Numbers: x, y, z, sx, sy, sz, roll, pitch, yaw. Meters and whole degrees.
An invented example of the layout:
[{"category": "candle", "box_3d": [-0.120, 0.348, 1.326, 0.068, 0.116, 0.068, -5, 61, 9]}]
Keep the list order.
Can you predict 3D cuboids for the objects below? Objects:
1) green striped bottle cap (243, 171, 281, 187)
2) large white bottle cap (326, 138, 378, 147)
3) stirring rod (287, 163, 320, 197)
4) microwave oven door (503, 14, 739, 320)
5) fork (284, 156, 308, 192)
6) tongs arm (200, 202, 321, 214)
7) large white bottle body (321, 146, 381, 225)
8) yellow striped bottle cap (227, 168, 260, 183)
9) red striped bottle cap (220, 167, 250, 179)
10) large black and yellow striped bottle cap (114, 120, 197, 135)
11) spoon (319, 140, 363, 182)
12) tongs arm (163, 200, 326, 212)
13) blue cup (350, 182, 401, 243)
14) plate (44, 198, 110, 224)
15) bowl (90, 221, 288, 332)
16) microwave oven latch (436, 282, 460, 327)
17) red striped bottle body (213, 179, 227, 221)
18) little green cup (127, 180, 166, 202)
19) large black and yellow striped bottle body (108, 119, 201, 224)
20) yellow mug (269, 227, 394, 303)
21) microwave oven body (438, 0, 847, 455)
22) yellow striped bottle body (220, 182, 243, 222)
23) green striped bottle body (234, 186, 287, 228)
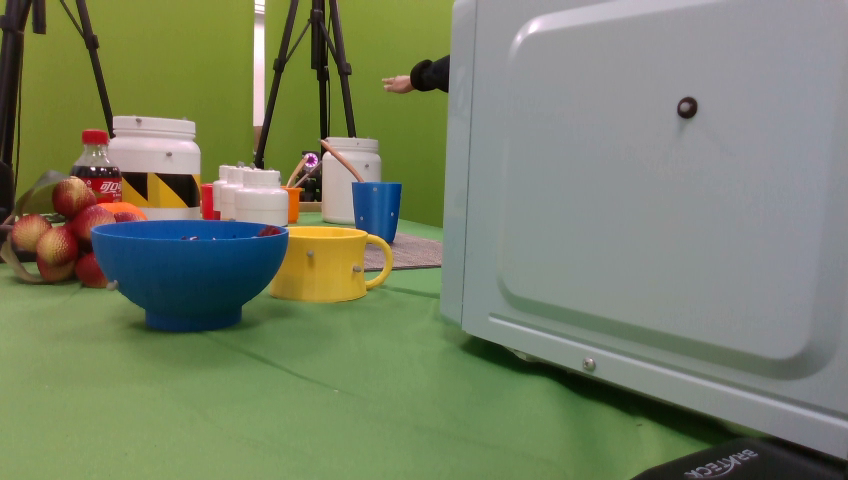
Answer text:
[{"category": "green striped bottle cap", "box_3d": [-0.198, -0.074, 0.736, 0.044, 0.020, 0.044, 1, 7, 0]}, {"category": "large white bottle cap", "box_3d": [-0.158, -0.214, 1.329, 0.115, 0.018, 0.115, 2, 8, 0]}, {"category": "stirring rod", "box_3d": [-0.283, -0.107, 1.298, 0.014, 0.006, 0.176, 11, 53, 50]}, {"category": "microwave oven door", "box_3d": [0.218, -0.065, 0.600, 0.358, 0.243, 0.039, -4, 10, -41]}, {"category": "fork", "box_3d": [-0.295, -0.116, 1.323, 0.028, 0.019, 0.207, 1, 50, 21]}, {"category": "tongs arm", "box_3d": [-0.380, -0.076, 1.420, 0.387, 0.026, 0.050, -4, 5, -42]}, {"category": "large white bottle body", "box_3d": [-0.162, -0.131, 1.340, 0.131, 0.184, 0.130, 2, 8, 0]}, {"category": "yellow striped bottle cap", "box_3d": [-0.243, -0.087, 0.818, 0.044, 0.018, 0.044, 3, 6, 0]}, {"category": "red striped bottle cap", "box_3d": [-0.281, -0.100, 0.901, 0.044, 0.017, 0.044, -1, 5, 0]}, {"category": "large black and yellow striped bottle cap", "box_3d": [-0.407, -0.171, 0.920, 0.115, 0.019, 0.115, 2, 9, 0]}, {"category": "spoon", "box_3d": [-0.116, -0.106, 1.028, 0.193, 0.021, 0.042, 51, 28, 14]}, {"category": "tongs arm", "box_3d": [-0.433, -0.083, 1.490, 0.389, 0.027, 0.028, -1, 0, -27]}, {"category": "blue cup", "box_3d": [-0.080, -0.047, 1.011, 0.093, 0.100, 0.092, 0, 7, 0]}, {"category": "plate", "box_3d": [-0.617, -0.056, 1.179, 0.209, 0.038, 0.209, 3, 7, 0]}, {"category": "bowl", "box_3d": [-0.190, 0.029, 0.500, 0.151, 0.077, 0.151, 3, 7, 0]}, {"category": "microwave oven latch", "box_3d": [0.045, 0.046, 0.470, 0.079, 0.029, 0.030, -3, 8, -41]}, {"category": "red striped bottle body", "box_3d": [-0.284, -0.048, 0.909, 0.063, 0.119, 0.063, 3, 12, 0]}, {"category": "little green cup", "box_3d": [-0.486, -0.086, 1.061, 0.061, 0.038, 0.061, 1, 7, 0]}, {"category": "large black and yellow striped bottle body", "box_3d": [-0.412, -0.088, 0.930, 0.131, 0.184, 0.130, 3, 7, 0]}, {"category": "yellow mug", "box_3d": [-0.094, 0.023, 0.629, 0.131, 0.064, 0.099, 0, 7, -22]}, {"category": "microwave oven body", "box_3d": [0.280, -0.039, 0.464, 0.444, 0.260, 0.324, -3, 8, -41]}, {"category": "yellow striped bottle body", "box_3d": [-0.246, -0.036, 0.825, 0.063, 0.120, 0.063, 3, 8, 0]}, {"category": "green striped bottle body", "box_3d": [-0.201, -0.023, 0.743, 0.063, 0.119, 0.063, 2, 7, 0]}]
